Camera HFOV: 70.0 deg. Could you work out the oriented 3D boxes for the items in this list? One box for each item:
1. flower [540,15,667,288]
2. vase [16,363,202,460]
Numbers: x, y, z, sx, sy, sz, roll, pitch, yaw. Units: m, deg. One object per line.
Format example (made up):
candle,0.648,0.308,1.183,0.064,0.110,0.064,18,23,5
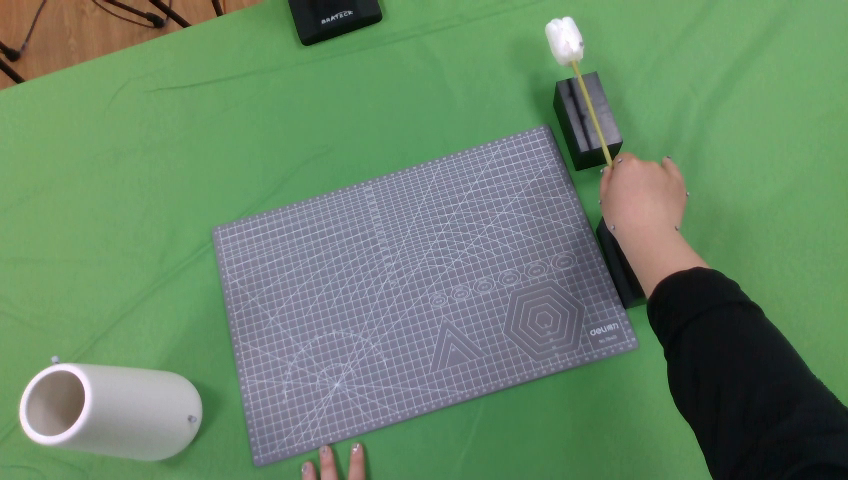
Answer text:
flower,0.199,-0.111,0.676,0.044,0.038,0.358,5,60,-35
vase,-0.307,0.172,0.614,0.098,0.201,0.097,-2,70,5
